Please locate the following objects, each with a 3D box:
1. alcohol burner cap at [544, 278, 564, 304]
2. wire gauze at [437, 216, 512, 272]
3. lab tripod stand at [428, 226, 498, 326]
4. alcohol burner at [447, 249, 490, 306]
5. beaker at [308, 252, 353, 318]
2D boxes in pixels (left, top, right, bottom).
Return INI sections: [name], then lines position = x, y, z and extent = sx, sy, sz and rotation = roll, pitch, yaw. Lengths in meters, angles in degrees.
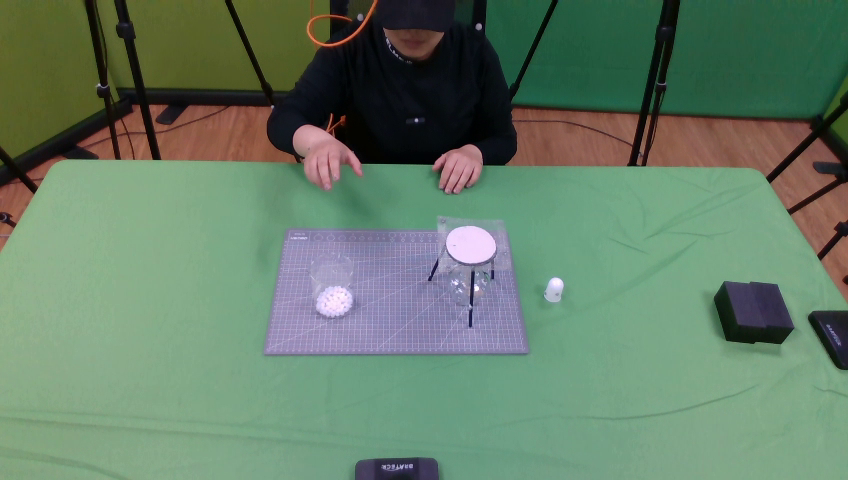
[alcohol burner cap]
position = 0.241, 0.090, 1.117
extent = 0.034, 0.048, 0.033
rotation = 2, 45, -1
[wire gauze]
position = 0.083, 0.006, 1.025
extent = 0.121, 0.011, 0.124
rotation = 2, 47, -4
[lab tripod stand]
position = 0.079, 0.056, 1.070
extent = 0.148, 0.132, 0.147
rotation = 3, 47, -3
[alcohol burner]
position = 0.080, 0.062, 1.078
extent = 0.078, 0.120, 0.077
rotation = 1, 45, -1
[beaker]
position = -0.159, 0.080, 1.052
extent = 0.074, 0.101, 0.083
rotation = 11, 46, 6
